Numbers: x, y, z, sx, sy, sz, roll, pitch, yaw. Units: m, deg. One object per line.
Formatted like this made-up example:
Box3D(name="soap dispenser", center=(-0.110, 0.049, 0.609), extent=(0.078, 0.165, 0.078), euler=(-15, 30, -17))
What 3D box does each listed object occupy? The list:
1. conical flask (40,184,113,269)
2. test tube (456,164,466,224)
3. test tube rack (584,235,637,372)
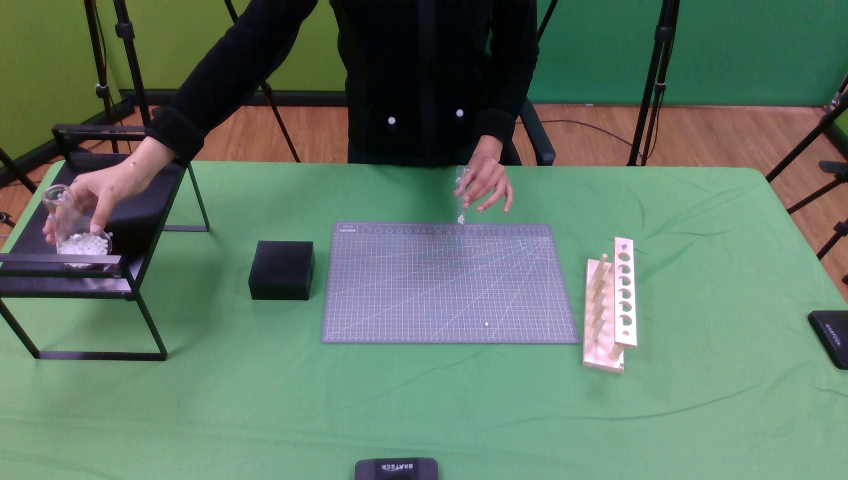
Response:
Box3D(name="conical flask", center=(-0.500, -0.022, 0.861), extent=(0.075, 0.122, 0.075), euler=(1, 46, -1))
Box3D(name="test tube", center=(0.066, -0.079, 1.082), extent=(0.017, 0.151, 0.017), euler=(-2, 53, 3))
Box3D(name="test tube rack", center=(0.329, 0.103, 1.073), extent=(0.067, 0.085, 0.241), euler=(11, 47, 7))
